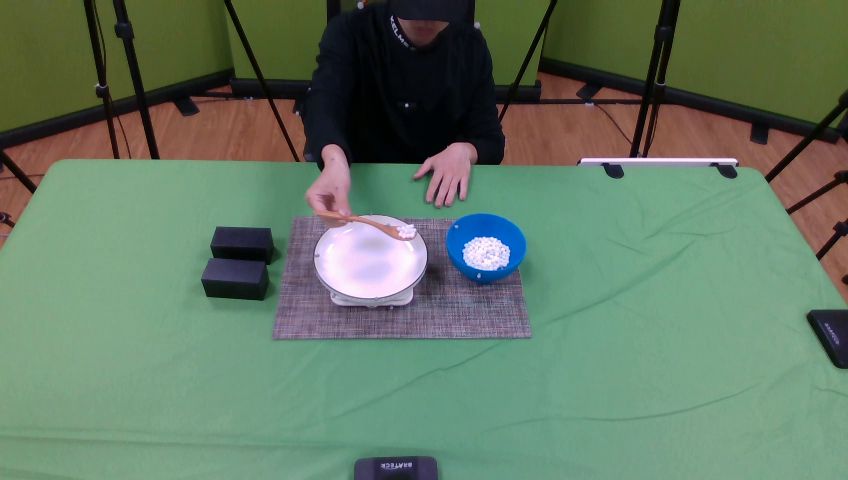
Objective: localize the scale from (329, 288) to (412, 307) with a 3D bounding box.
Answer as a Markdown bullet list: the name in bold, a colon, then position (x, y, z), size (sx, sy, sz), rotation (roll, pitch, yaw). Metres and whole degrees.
- **scale**: position (-0.098, 0.042, 1.139), size (0.149, 0.032, 0.199), rotation (1, 46, -4)

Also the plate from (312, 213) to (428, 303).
- **plate**: position (-0.097, 0.036, 1.100), size (0.209, 0.038, 0.208), rotation (2, 46, -2)

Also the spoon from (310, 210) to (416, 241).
- **spoon**: position (-0.103, -0.030, 1.044), size (0.194, 0.022, 0.041), rotation (16, 33, -27)

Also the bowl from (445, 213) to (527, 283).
- **bowl**: position (0.111, 0.027, 1.137), size (0.151, 0.077, 0.150), rotation (2, 46, -2)
